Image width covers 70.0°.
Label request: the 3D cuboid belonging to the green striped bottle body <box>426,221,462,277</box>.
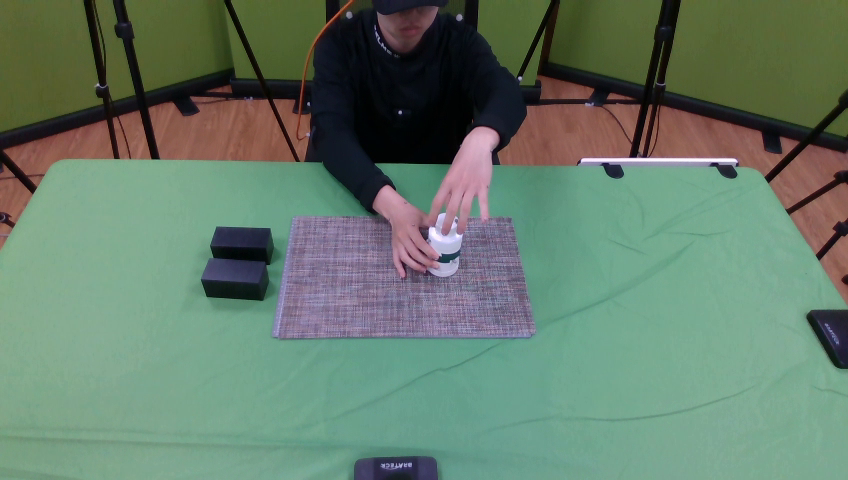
[{"bbox_3d":[0.037,0.008,1.121,0.063,0.120,0.063,2,46,-2],"label":"green striped bottle body"}]

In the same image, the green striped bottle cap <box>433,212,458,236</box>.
[{"bbox_3d":[0.038,-0.029,1.083,0.044,0.020,0.044,4,45,-4],"label":"green striped bottle cap"}]
